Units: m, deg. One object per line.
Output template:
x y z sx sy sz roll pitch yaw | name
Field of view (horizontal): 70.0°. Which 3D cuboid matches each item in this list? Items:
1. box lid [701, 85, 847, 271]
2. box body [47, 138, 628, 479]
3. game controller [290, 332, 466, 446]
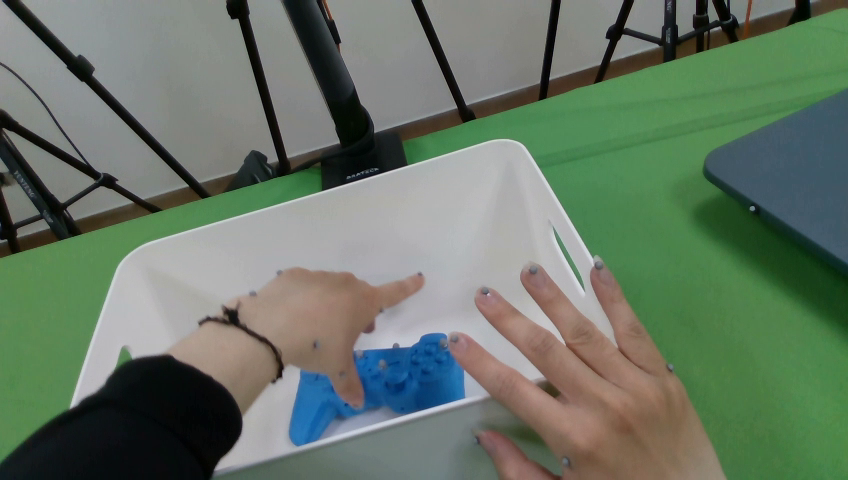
0.452 -0.035 0.503 0.263 0.015 0.367 -24 40 -8 | box lid
-0.052 0.091 0.484 0.364 0.162 0.251 -17 39 1 | box body
-0.039 0.124 0.523 0.155 0.052 0.096 -6 37 13 | game controller
